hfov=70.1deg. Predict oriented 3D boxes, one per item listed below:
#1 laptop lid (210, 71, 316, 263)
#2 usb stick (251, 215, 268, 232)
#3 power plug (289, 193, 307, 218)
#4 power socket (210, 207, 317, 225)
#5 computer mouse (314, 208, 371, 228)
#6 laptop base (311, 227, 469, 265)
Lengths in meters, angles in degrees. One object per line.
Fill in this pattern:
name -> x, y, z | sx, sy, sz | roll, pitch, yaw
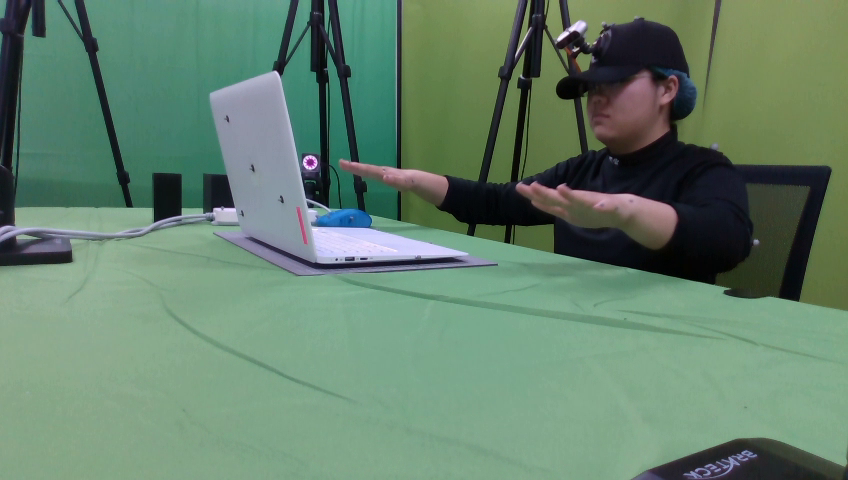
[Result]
laptop lid -> -0.240, -0.104, 0.861 | 0.013, 0.241, 0.355 | -16, 17, -29
usb stick -> -0.290, -0.028, 1.070 | 0.021, 0.027, 0.059 | -2, 12, -29
power plug -> -0.280, -0.076, 1.340 | 0.035, 0.052, 0.072 | 2, 6, -17
power socket -> -0.335, -0.051, 1.281 | 0.228, 0.032, 0.072 | -1, 8, -28
computer mouse -> -0.173, -0.046, 1.284 | 0.118, 0.041, 0.062 | -7, 13, -30
laptop base -> -0.123, 0.007, 0.952 | 0.237, 0.023, 0.352 | 2, 6, -32
